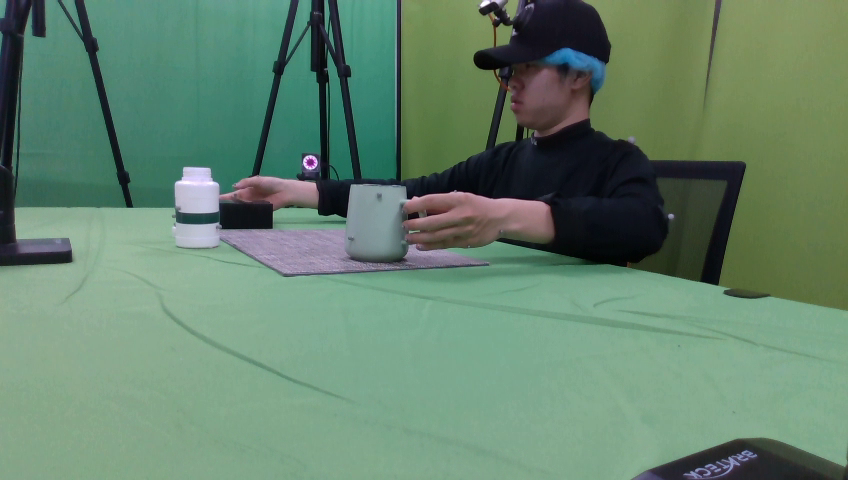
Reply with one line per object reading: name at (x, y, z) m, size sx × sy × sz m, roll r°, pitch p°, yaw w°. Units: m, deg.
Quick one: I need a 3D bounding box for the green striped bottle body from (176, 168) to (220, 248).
green striped bottle body at (-0.345, -0.050, 0.924) m, size 0.063 × 0.119 × 0.063 m, roll 2°, pitch 7°, yaw 0°

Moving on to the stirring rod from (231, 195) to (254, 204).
stirring rod at (-0.372, -0.083, 1.235) m, size 0.014 × 0.006 × 0.175 m, roll 4°, pitch 7°, yaw -28°

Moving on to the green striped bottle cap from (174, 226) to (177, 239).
green striped bottle cap at (-0.405, -0.015, 1.036) m, size 0.044 × 0.020 × 0.044 m, roll -1°, pitch 10°, yaw 0°

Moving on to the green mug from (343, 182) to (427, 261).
green mug at (-0.053, -0.026, 0.847) m, size 0.125 × 0.105 × 0.093 m, roll 6°, pitch 8°, yaw 27°
